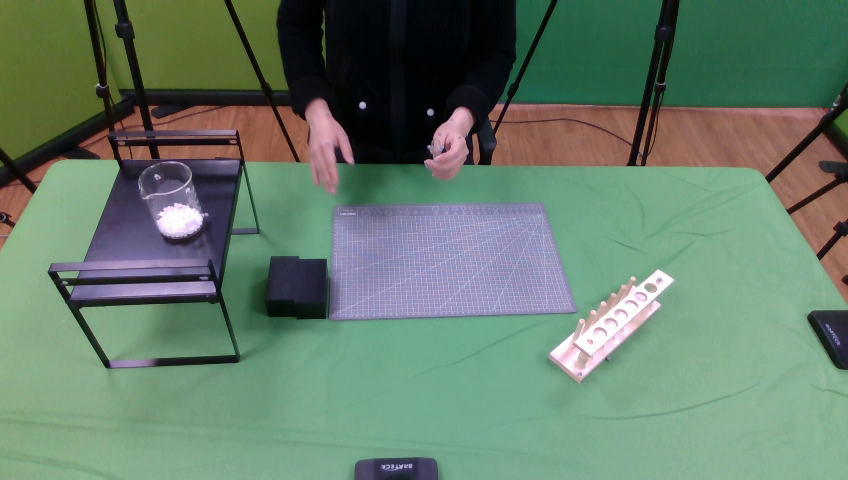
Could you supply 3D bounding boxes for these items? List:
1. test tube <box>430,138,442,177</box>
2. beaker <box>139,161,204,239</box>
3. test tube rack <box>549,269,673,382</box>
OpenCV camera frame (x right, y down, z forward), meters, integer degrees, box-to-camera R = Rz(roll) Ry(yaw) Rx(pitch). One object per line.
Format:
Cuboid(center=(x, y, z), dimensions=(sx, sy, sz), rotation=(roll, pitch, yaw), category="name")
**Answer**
Cuboid(center=(0.023, -0.142, 1.062), dimensions=(0.017, 0.150, 0.017), rotation=(-1, 75, 4), category="test tube")
Cuboid(center=(-0.382, -0.056, 0.920), dimensions=(0.074, 0.101, 0.084), rotation=(22, 49, 18), category="beaker")
Cuboid(center=(0.325, 0.134, 1.047), dimensions=(0.242, 0.085, 0.066), rotation=(-32, 56, -30), category="test tube rack")
